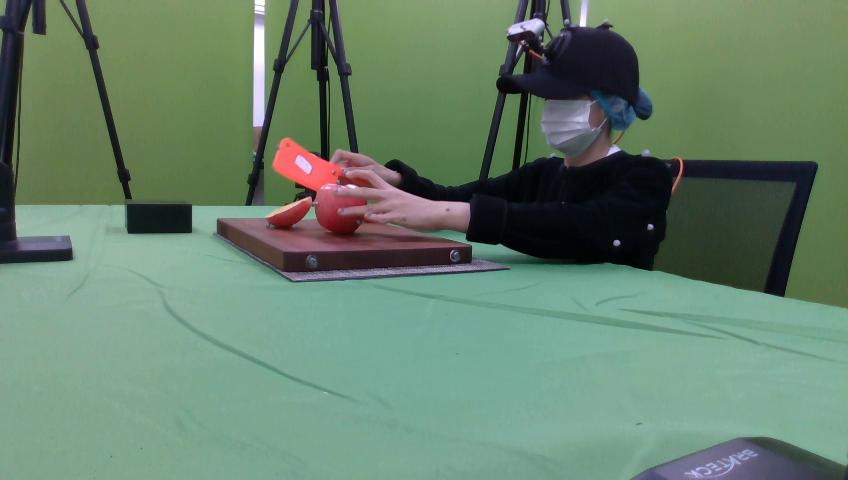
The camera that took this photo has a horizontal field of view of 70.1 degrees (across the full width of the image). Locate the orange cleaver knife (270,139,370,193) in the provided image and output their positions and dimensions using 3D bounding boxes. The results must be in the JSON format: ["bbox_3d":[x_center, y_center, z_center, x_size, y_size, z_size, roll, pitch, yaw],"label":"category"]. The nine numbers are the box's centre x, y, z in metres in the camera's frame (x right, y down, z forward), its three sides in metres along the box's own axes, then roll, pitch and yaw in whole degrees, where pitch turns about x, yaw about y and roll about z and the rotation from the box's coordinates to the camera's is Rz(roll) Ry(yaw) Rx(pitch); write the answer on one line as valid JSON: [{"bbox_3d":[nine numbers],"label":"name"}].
[{"bbox_3d":[-0.178,-0.114,1.066,0.012,0.077,0.212,-18,-25,40],"label":"orange cleaver knife"}]

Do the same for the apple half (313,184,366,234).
[{"bbox_3d":[-0.119,-0.045,0.905,0.081,0.074,0.053,6,12,-46],"label":"apple half"}]

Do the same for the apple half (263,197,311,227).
[{"bbox_3d":[-0.211,-0.040,0.956,0.081,0.033,0.081,-20,12,5],"label":"apple half"}]
